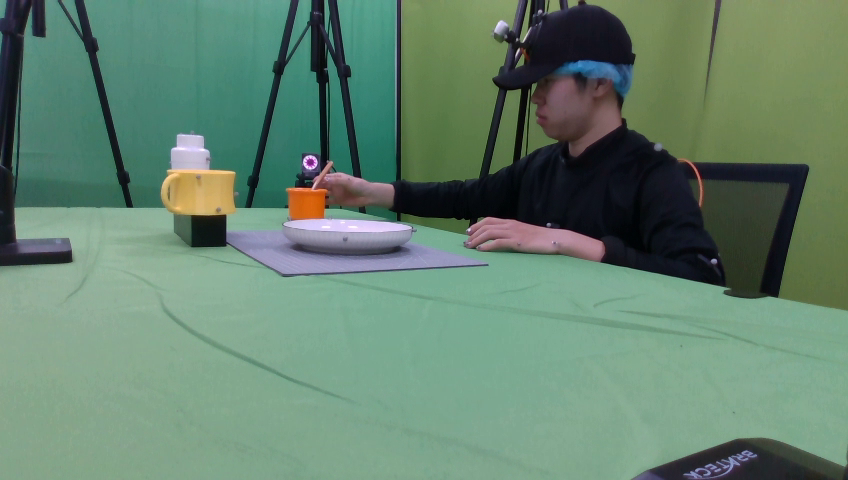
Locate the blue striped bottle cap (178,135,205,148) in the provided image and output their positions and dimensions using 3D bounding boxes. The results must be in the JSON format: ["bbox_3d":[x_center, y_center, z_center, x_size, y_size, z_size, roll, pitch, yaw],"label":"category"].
[{"bbox_3d":[-0.405,-0.171,1.053,0.044,0.020,0.044,3,10,0],"label":"blue striped bottle cap"}]

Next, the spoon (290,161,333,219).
[{"bbox_3d":[-0.251,-0.117,1.381,0.041,0.193,0.022,5,-37,25],"label":"spoon"}]

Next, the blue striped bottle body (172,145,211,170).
[{"bbox_3d":[-0.407,-0.120,1.059,0.063,0.120,0.063,3,8,0],"label":"blue striped bottle body"}]

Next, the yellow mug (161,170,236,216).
[{"bbox_3d":[-0.354,-0.074,0.935,0.099,0.064,0.131,5,9,21],"label":"yellow mug"}]

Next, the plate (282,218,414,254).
[{"bbox_3d":[-0.121,-0.007,0.971,0.208,0.039,0.207,2,7,0],"label":"plate"}]
